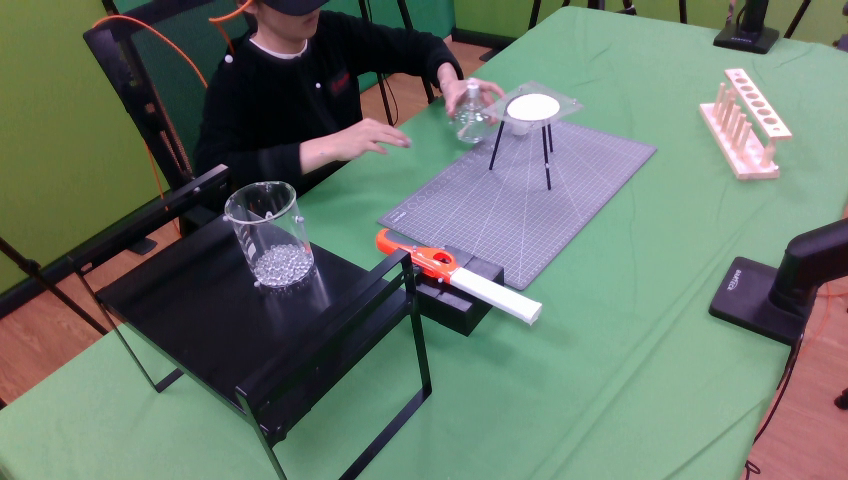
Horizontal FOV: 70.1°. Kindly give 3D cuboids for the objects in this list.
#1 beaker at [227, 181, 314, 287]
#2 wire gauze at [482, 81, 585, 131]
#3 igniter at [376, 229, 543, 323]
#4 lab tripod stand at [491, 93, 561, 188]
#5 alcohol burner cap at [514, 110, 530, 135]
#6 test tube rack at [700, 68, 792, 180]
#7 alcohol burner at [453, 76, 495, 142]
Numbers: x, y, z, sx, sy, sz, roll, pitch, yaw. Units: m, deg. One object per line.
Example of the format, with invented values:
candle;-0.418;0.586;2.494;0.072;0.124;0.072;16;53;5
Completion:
beaker;-0.166;-0.006;0.670;0.074;0.101;0.083;-8;40;0
wire gauze;0.183;-0.224;1.015;0.125;0.011;0.120;-32;46;-23
igniter;0.038;0.044;0.843;0.274;0.025;0.057;25;47;29
lab tripod stand;0.189;-0.180;1.066;0.148;0.132;0.147;-5;42;5
alcohol burner cap;0.194;-0.236;1.200;0.034;0.048;0.033;-4;42;5
test tube rack;0.572;-0.215;1.090;0.066;0.085;0.241;-3;41;7
alcohol burner;0.094;-0.245;1.123;0.078;0.119;0.077;1;34;0
